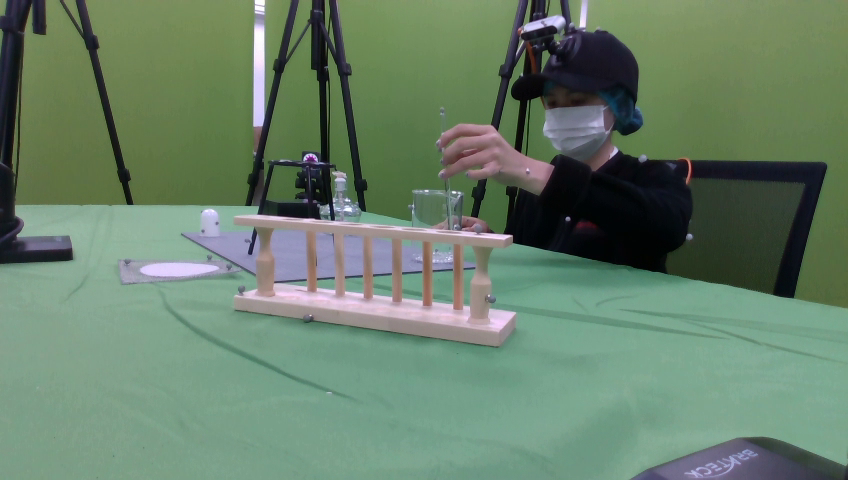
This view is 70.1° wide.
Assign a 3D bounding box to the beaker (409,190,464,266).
[{"bbox_3d":[0.018,-0.017,0.840,0.074,0.100,0.083,-3,10,-35],"label":"beaker"}]

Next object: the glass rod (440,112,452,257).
[{"bbox_3d":[0.031,-0.074,0.831,0.008,0.199,0.008,-4,12,1],"label":"glass rod"}]

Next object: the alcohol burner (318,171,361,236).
[{"bbox_3d":[-0.155,-0.067,1.104,0.078,0.119,0.078,1,8,0],"label":"alcohol burner"}]

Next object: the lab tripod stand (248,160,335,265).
[{"bbox_3d":[-0.165,-0.041,0.817,0.148,0.131,0.148,5,7,0],"label":"lab tripod stand"}]

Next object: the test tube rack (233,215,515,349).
[{"bbox_3d":[-0.045,0.029,0.526,0.241,0.085,0.067,5,8,19],"label":"test tube rack"}]

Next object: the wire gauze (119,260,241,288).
[{"bbox_3d":[-0.288,0.034,0.706,0.122,0.011,0.124,-3,10,-29],"label":"wire gauze"}]

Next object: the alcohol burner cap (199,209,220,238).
[{"bbox_3d":[-0.356,-0.027,1.002,0.034,0.048,0.034,2,7,0],"label":"alcohol burner cap"}]
